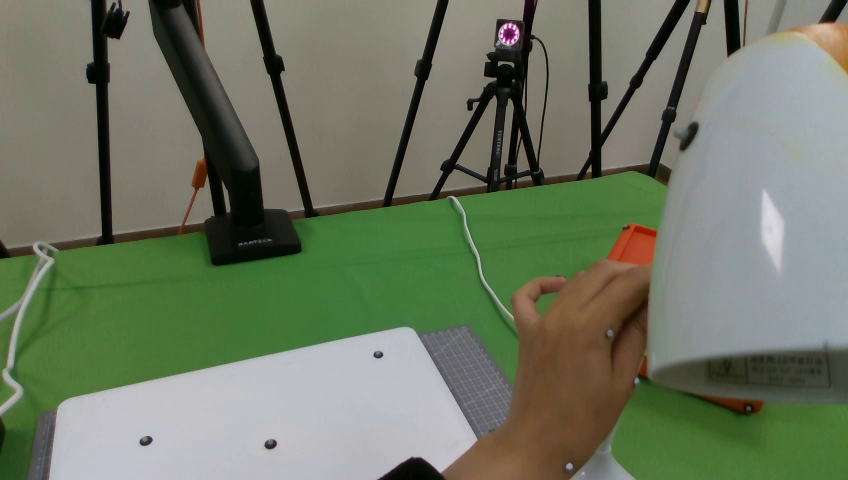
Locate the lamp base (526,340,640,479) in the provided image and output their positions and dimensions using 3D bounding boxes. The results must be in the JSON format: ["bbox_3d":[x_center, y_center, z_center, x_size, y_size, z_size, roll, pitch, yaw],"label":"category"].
[{"bbox_3d":[0.137,0.175,0.437,0.161,0.181,0.177,1,30,-5],"label":"lamp base"}]

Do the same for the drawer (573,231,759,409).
[{"bbox_3d":[0.303,0.080,0.718,0.193,0.074,0.211,17,32,23],"label":"drawer"}]

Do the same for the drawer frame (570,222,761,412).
[{"bbox_3d":[0.303,0.076,0.720,0.200,0.083,0.213,17,32,22],"label":"drawer frame"}]

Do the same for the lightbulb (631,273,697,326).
[{"bbox_3d":[0.295,0.077,0.737,0.060,0.060,0.107,-2,15,-9],"label":"lightbulb"}]

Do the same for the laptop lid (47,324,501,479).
[{"bbox_3d":[-0.134,0.180,0.535,0.358,0.013,0.239,-8,35,-19],"label":"laptop lid"}]

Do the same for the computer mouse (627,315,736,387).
[{"bbox_3d":[0.286,0.120,0.672,0.117,0.041,0.062,18,32,14],"label":"computer mouse"}]

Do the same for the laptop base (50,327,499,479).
[{"bbox_3d":[-0.136,0.189,0.544,0.355,0.023,0.232,-9,36,-21],"label":"laptop base"}]

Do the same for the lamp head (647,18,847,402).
[{"bbox_3d":[0.132,-0.008,0.207,0.112,0.113,0.122,5,65,2],"label":"lamp head"}]
